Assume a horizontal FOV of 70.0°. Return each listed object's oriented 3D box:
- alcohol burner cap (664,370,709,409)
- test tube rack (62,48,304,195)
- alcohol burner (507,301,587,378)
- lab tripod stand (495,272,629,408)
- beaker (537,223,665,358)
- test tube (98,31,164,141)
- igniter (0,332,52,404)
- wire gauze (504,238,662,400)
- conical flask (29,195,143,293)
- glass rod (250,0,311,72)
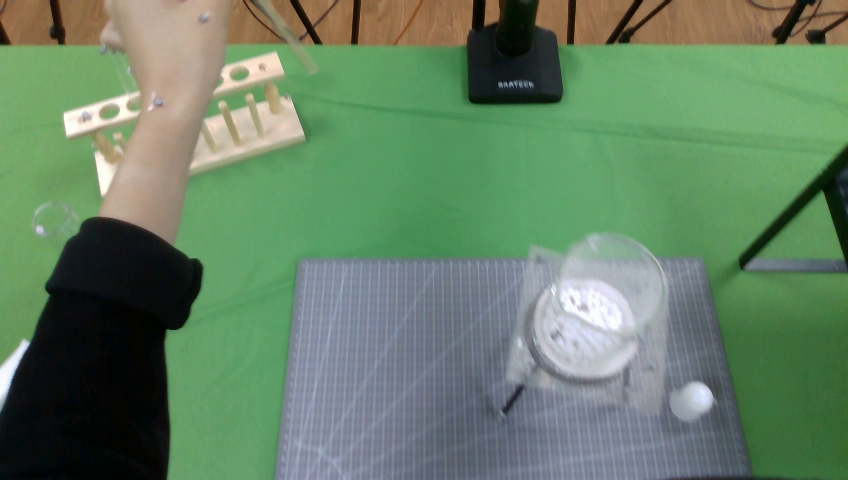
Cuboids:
[{"bbox_3d":[0.257,0.142,0.587,0.034,0.048,0.033,0,63,0],"label":"alcohol burner cap"},{"bbox_3d":[-0.273,-0.137,0.707,0.242,0.086,0.066,-19,65,-9],"label":"test tube rack"},{"bbox_3d":[0.120,0.088,0.575,0.078,0.120,0.077,1,62,-1],"label":"alcohol burner"},{"bbox_3d":[0.130,0.096,0.560,0.148,0.132,0.147,1,62,-1],"label":"lab tripod stand"},{"bbox_3d":[0.125,0.045,0.458,0.084,0.101,0.073,-22,66,-10],"label":"beaker"},{"bbox_3d":[-0.317,-0.163,0.665,0.017,0.151,0.017,0,57,0],"label":"test tube"},{"bbox_3d":[-0.440,0.198,0.522,0.057,0.025,0.275,25,65,23],"label":"igniter"},{"bbox_3d":[0.136,0.062,0.503,0.121,0.011,0.124,13,63,4],"label":"wire gauze"},{"bbox_3d":[-0.349,0.000,0.619,0.075,0.123,0.074,0,63,1],"label":"conical flask"},{"bbox_3d":[-0.126,-0.177,0.421,0.008,0.201,0.008,-6,68,15],"label":"glass rod"}]
